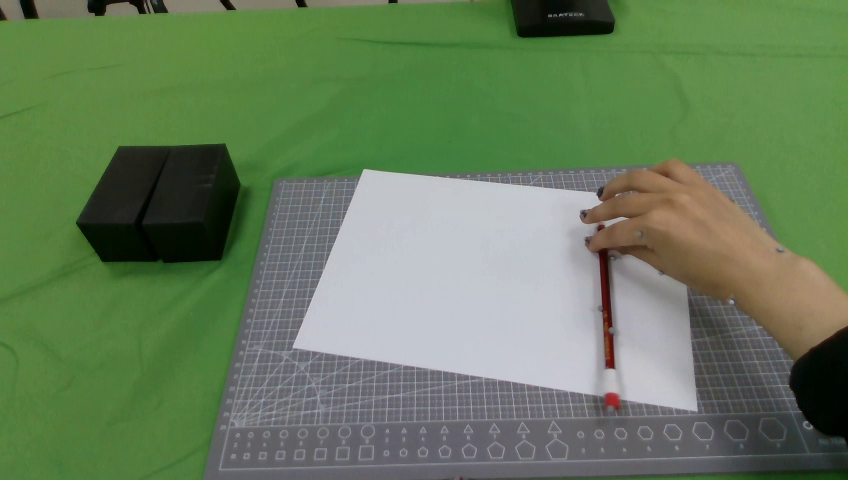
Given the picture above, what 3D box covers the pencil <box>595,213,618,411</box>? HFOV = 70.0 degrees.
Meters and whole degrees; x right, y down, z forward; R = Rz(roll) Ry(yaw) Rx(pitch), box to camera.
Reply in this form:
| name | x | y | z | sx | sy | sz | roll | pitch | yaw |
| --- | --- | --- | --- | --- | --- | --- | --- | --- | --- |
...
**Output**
| name | x | y | z | sx | sy | sz | roll | pitch | yaw |
| --- | --- | --- | --- | --- | --- | --- | --- | --- | --- |
| pencil | 0.142 | 0.046 | 0.479 | 0.012 | 0.012 | 0.192 | 5 | 48 | 7 |
